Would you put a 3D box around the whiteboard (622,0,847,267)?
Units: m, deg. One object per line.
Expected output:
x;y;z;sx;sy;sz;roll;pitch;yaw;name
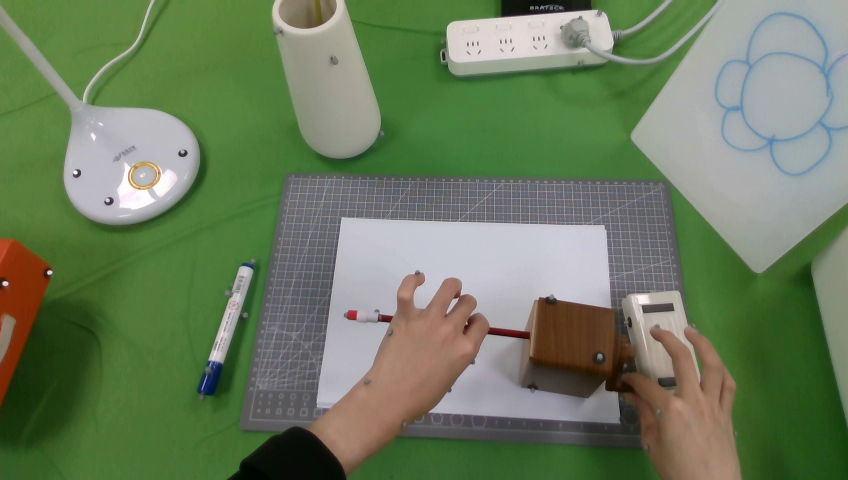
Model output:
0.388;-0.157;0.604;0.144;0.307;0.215;-20;63;-28;whiteboard

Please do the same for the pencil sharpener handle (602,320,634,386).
0.180;0.104;0.545;0.030;0.068;0.035;8;33;6;pencil sharpener handle

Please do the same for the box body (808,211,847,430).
0.513;0.129;0.508;0.254;0.161;0.361;1;65;3;box body

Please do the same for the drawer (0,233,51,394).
-0.496;0.085;0.566;0.211;0.074;0.193;4;66;4;drawer

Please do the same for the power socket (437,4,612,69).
0.129;-0.262;0.781;0.227;0.033;0.071;-4;65;0;power socket

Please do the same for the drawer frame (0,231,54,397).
-0.502;0.087;0.568;0.213;0.083;0.200;5;66;2;drawer frame

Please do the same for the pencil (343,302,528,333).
0.023;0.073;0.550;0.194;0.012;0.012;7;65;1;pencil

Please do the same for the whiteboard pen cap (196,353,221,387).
-0.216;0.130;0.610;0.018;0.018;0.033;6;59;6;whiteboard pen cap

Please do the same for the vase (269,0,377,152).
-0.109;-0.184;0.662;0.098;0.201;0.097;-2;64;3;vase

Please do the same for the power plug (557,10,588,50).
0.181;-0.250;0.747;0.035;0.053;0.072;5;66;6;power plug

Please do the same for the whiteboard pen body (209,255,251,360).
-0.207;0.080;0.638;0.017;0.017;0.139;5;61;6;whiteboard pen body

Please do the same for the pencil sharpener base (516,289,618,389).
0.131;0.096;0.567;0.076;0.108;0.061;8;65;6;pencil sharpener base

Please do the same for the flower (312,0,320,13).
-0.106;-0.236;0.595;0.038;0.365;0.043;-10;46;-10;flower

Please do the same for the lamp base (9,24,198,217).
-0.366;-0.138;0.661;0.178;0.182;0.160;32;70;19;lamp base

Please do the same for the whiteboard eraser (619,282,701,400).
0.231;0.099;0.598;0.055;0.042;0.111;-3;65;-1;whiteboard eraser
